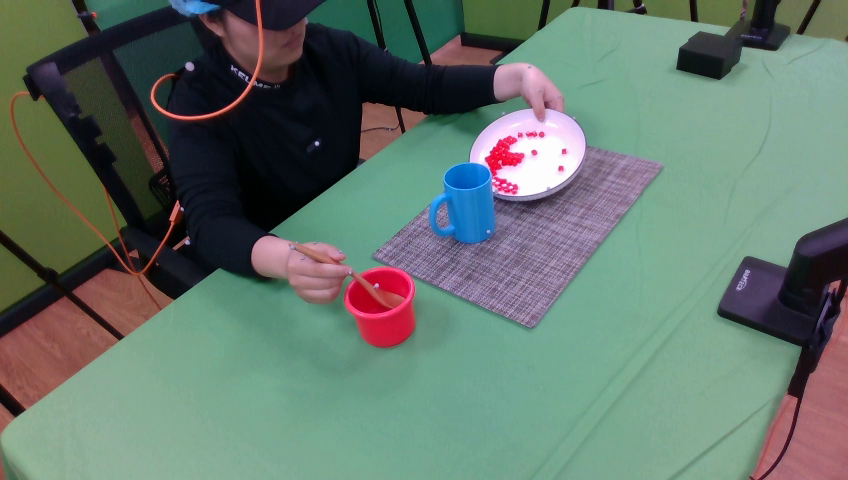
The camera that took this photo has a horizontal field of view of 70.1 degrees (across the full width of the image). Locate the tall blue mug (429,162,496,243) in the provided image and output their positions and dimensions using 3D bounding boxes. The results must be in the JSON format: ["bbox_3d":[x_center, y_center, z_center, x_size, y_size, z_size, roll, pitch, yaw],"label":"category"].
[{"bbox_3d":[0.066,-0.051,0.960,0.077,0.108,0.107,18,47,28],"label":"tall blue mug"}]

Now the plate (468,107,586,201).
[{"bbox_3d":[0.184,-0.149,1.078,0.207,0.039,0.206,-9,54,13],"label":"plate"}]

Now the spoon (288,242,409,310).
[{"bbox_3d":[-0.098,0.048,0.815,0.021,0.195,0.041,-48,29,13],"label":"spoon"}]
